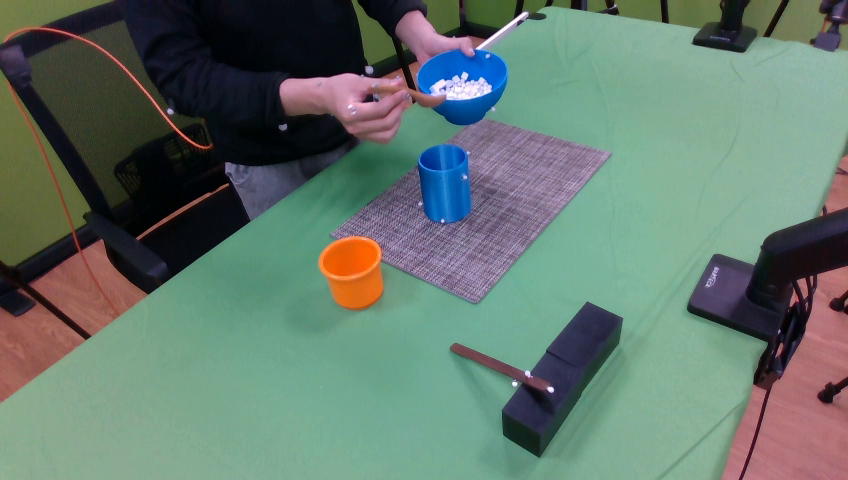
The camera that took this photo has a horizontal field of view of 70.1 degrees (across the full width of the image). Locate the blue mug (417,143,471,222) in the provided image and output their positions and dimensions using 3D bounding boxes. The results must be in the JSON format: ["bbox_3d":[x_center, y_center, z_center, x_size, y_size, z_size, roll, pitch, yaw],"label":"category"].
[{"bbox_3d":[0.031,-0.104,1.014,0.082,0.106,0.115,-14,41,-7],"label":"blue mug"}]

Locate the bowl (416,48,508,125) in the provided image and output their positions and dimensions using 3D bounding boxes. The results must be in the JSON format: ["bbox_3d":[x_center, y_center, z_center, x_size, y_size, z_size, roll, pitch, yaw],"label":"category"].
[{"bbox_3d":[0.066,-0.246,1.006,0.151,0.077,0.150,-4,48,5],"label":"bowl"}]

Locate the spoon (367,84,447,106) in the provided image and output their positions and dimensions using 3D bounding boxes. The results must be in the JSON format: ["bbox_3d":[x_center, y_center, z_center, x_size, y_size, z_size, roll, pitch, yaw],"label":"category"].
[{"bbox_3d":[-0.022,-0.202,0.829,0.041,0.021,0.195,-12,-1,31],"label":"spoon"}]

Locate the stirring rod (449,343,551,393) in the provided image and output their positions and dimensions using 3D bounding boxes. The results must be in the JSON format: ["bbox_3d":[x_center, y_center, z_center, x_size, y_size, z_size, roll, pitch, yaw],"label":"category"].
[{"bbox_3d":[0.088,0.154,0.741,0.014,0.006,0.174,-39,28,-25],"label":"stirring rod"}]
